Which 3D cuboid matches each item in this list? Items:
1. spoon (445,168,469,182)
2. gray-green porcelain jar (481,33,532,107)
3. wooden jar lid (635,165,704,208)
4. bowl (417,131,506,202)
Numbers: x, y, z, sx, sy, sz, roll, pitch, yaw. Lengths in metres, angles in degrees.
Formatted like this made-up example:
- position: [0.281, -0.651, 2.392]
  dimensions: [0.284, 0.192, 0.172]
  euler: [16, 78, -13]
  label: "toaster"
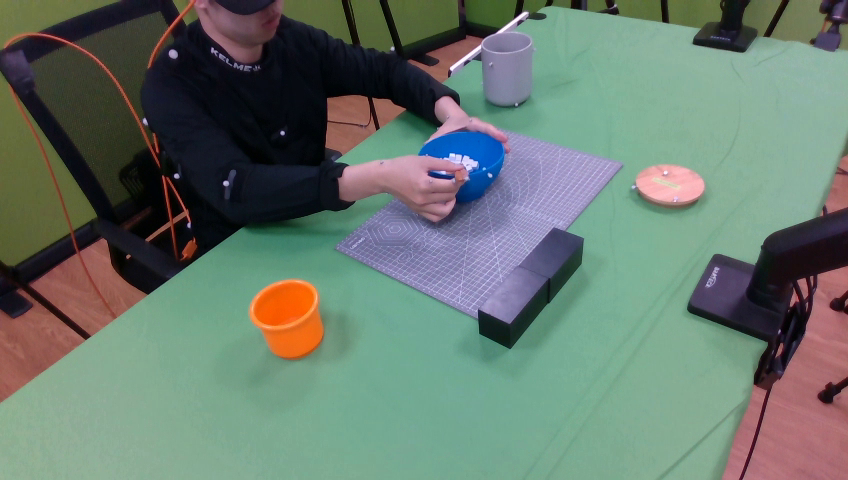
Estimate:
- position: [0.054, -0.105, 0.973]
  dimensions: [0.041, 0.021, 0.193]
  euler: [5, 7, 2]
  label: "spoon"
- position: [0.175, -0.355, 1.278]
  dimensions: [0.106, 0.127, 0.105]
  euler: [-4, 41, 4]
  label: "gray-green porcelain jar"
- position: [0.410, -0.089, 1.014]
  dimensions: [0.108, 0.021, 0.108]
  euler: [-5, 42, 5]
  label: "wooden jar lid"
- position: [0.067, -0.118, 1.048]
  dimensions: [0.151, 0.077, 0.150]
  euler: [-4, 39, 4]
  label: "bowl"
